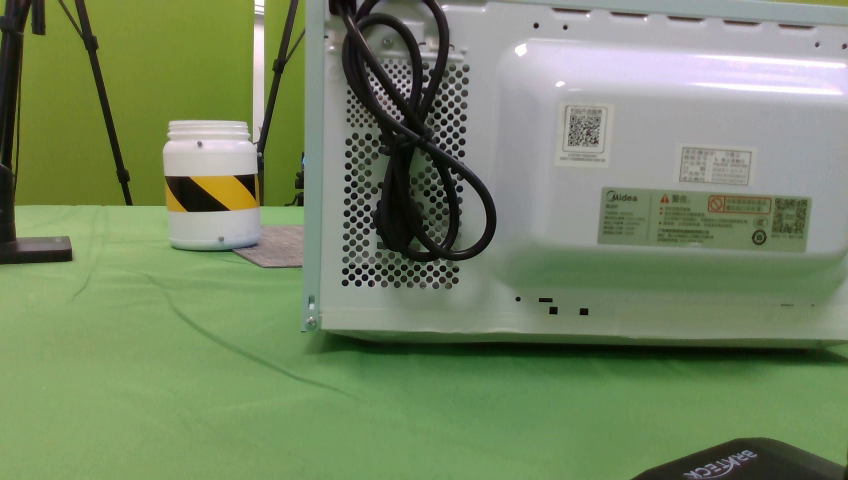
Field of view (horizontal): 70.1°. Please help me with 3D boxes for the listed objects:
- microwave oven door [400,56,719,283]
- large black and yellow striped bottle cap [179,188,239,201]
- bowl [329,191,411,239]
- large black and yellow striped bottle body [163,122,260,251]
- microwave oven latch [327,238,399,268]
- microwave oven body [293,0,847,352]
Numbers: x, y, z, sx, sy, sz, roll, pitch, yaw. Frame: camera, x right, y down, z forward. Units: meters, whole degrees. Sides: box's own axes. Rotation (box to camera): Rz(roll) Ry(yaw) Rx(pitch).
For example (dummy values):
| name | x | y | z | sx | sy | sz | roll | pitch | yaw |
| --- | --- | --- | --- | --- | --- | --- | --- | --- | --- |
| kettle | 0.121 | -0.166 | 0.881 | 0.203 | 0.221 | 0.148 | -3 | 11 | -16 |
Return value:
| name | x | y | z | sx | sy | sz | roll | pitch | yaw |
| --- | --- | --- | --- | --- | --- | --- | --- | --- | --- |
| microwave oven door | 0.155 | -0.078 | 0.698 | 0.356 | 0.243 | 0.039 | 2 | 8 | -5 |
| large black and yellow striped bottle cap | -0.434 | -0.093 | 1.226 | 0.115 | 0.019 | 0.115 | 3 | 9 | 0 |
| bowl | -0.099 | -0.046 | 1.104 | 0.151 | 0.077 | 0.151 | 3 | 8 | 0 |
| large black and yellow striped bottle body | -0.317 | -0.083 | 0.907 | 0.131 | 0.184 | 0.130 | 0 | 9 | 0 |
| microwave oven latch | -0.069 | 0.015 | 0.694 | 0.079 | 0.029 | 0.030 | 3 | 7 | -3 |
| microwave oven body | 0.122 | -0.055 | 0.550 | 0.442 | 0.260 | 0.325 | 3 | 7 | -5 |
